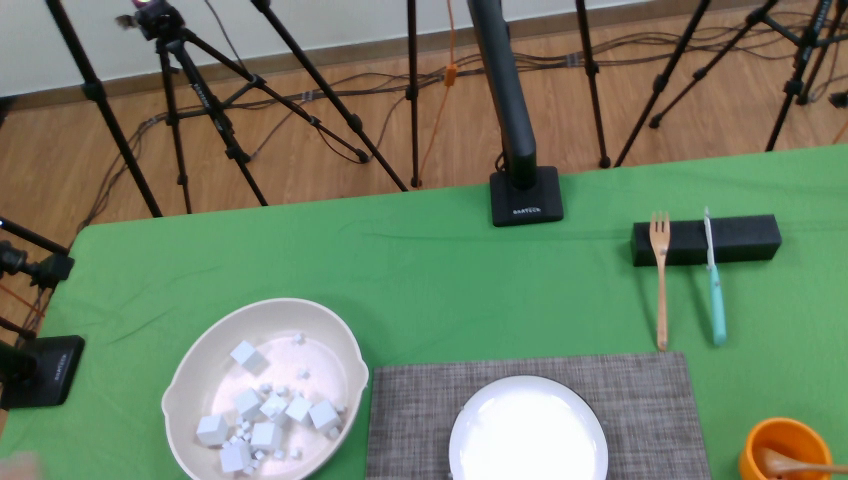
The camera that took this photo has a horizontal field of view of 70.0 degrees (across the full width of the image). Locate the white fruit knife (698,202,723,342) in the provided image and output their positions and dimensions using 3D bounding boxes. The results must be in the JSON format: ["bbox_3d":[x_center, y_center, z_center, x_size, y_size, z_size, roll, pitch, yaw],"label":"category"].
[{"bbox_3d":[0.411,0.042,0.876,0.016,0.027,0.206,-2,72,9],"label":"white fruit knife"}]

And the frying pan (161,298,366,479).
[{"bbox_3d":[-0.224,0.304,0.822,0.306,0.104,0.483,-8,47,7],"label":"frying pan"}]

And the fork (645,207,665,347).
[{"bbox_3d":[0.340,0.052,0.885,0.028,0.019,0.206,2,76,5],"label":"fork"}]

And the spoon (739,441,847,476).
[{"bbox_3d":[0.449,0.252,0.685,0.193,0.022,0.041,-20,47,51],"label":"spoon"}]

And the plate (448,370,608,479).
[{"bbox_3d":[0.135,0.277,0.802,0.207,0.039,0.205,-5,57,9],"label":"plate"}]
